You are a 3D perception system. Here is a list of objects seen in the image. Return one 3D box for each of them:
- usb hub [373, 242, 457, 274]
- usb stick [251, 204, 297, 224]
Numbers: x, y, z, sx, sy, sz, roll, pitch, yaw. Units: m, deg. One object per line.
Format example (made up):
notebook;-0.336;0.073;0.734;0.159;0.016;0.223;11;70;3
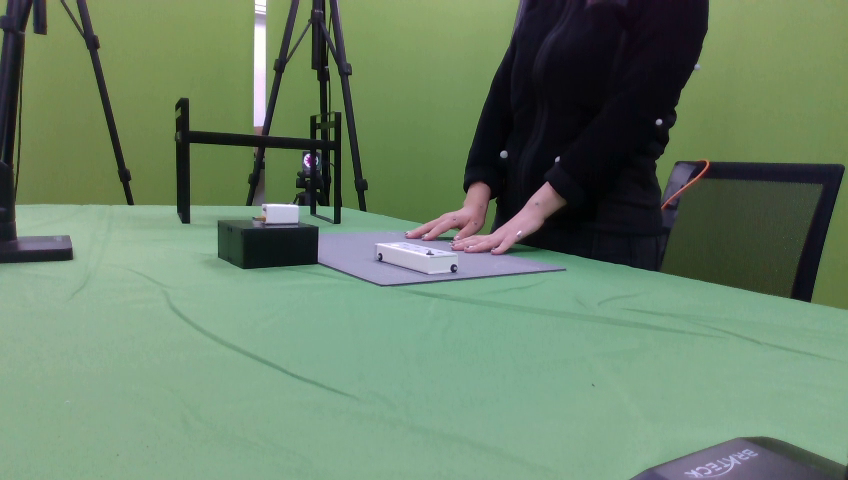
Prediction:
usb hub;-0.014;0.022;0.799;0.050;0.025;0.124;-4;9;-37
usb stick;-0.200;-0.035;0.805;0.059;0.027;0.021;-6;13;-34
